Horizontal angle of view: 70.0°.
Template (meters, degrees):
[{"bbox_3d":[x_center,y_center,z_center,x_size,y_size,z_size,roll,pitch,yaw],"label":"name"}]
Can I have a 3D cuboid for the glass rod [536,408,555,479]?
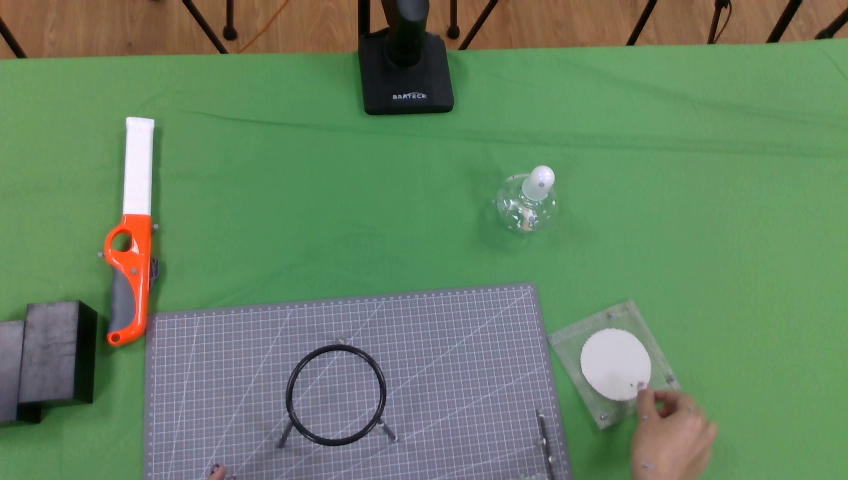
[{"bbox_3d":[0.144,0.284,0.658,0.008,0.008,0.198,-5,70,-10],"label":"glass rod"}]

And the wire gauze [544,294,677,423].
[{"bbox_3d":[0.225,0.139,0.726,0.125,0.011,0.120,-21,73,-14],"label":"wire gauze"}]

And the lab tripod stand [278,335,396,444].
[{"bbox_3d":[-0.089,0.154,0.606,0.148,0.132,0.147,2,69,-5],"label":"lab tripod stand"}]

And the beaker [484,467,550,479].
[{"bbox_3d":[0.089,0.269,0.608,0.074,0.101,0.083,26,68,2],"label":"beaker"}]

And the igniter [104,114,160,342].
[{"bbox_3d":[-0.333,-0.020,0.695,0.057,0.025,0.274,2,69,-23],"label":"igniter"}]

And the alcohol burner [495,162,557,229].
[{"bbox_3d":[0.127,-0.059,0.728,0.078,0.119,0.077,3,67,-7],"label":"alcohol burner"}]

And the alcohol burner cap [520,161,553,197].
[{"bbox_3d":[0.132,-0.072,0.694,0.034,0.048,0.033,1,74,-5],"label":"alcohol burner cap"}]
